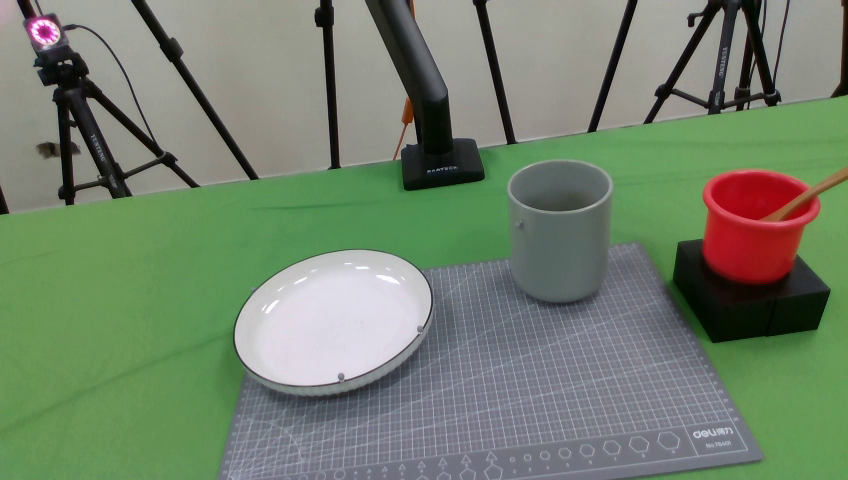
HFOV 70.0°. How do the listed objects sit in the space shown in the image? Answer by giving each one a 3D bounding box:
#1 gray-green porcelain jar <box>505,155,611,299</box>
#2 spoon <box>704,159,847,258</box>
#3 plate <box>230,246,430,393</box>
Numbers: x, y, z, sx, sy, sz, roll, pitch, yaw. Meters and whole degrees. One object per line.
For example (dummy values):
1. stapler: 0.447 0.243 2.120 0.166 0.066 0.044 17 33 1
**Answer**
1. gray-green porcelain jar: 0.141 -0.010 0.641 0.106 0.128 0.105 -6 37 5
2. spoon: 0.343 -0.040 0.545 0.022 0.194 0.041 34 36 -20
3. plate: -0.096 0.083 0.639 0.207 0.039 0.205 -5 36 4
